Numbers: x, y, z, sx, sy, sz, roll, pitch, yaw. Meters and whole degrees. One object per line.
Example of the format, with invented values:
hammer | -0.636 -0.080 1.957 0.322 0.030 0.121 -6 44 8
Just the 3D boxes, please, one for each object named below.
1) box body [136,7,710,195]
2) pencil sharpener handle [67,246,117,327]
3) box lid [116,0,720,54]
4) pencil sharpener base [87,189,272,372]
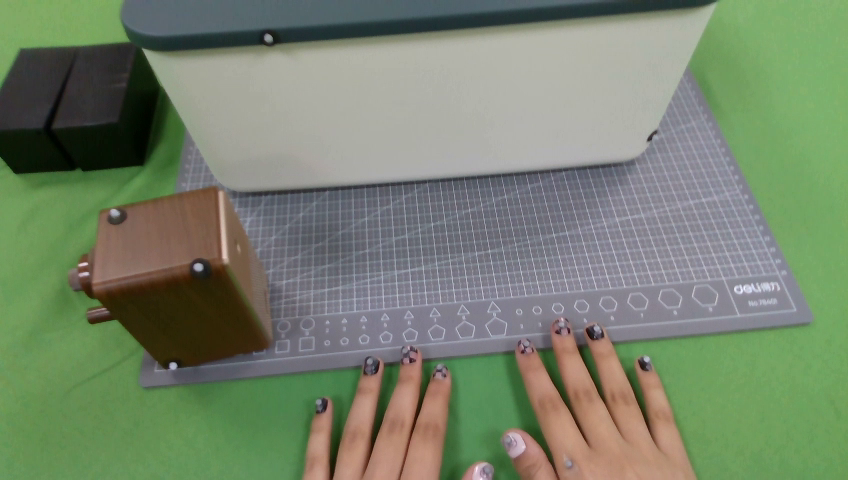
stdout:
box body | -0.004 -0.184 0.482 0.364 0.162 0.251 -5 55 -2
pencil sharpener handle | -0.195 0.032 0.356 0.031 0.068 0.035 -13 59 -6
box lid | -0.008 -0.227 0.421 0.372 0.015 0.260 -5 55 -2
pencil sharpener base | -0.145 0.029 0.372 0.077 0.108 0.060 -13 56 -6
